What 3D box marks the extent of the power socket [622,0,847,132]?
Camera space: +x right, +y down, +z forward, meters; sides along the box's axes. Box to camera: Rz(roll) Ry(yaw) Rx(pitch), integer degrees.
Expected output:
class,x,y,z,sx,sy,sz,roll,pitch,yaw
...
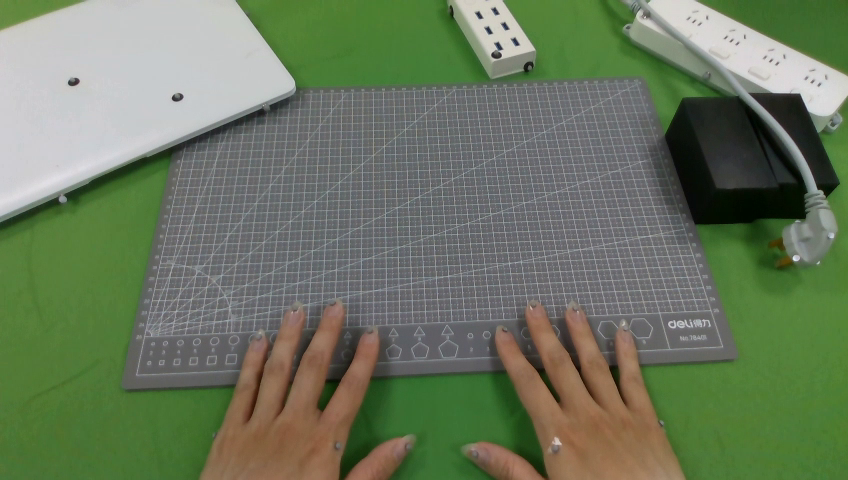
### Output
class,x,y,z,sx,sy,sz,roll,pitch,yaw
power socket,0.307,-0.183,0.599,0.225,0.033,0.072,39,65,22

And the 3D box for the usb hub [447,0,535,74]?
class,x,y,z,sx,sy,sz,roll,pitch,yaw
usb hub,0.066,-0.226,0.628,0.049,0.025,0.124,-17,60,-10

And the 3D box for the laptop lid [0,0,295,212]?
class,x,y,z,sx,sy,sz,roll,pitch,yaw
laptop lid,-0.328,-0.152,0.570,0.357,0.013,0.239,-27,64,-16

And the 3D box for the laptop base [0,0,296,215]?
class,x,y,z,sx,sy,sz,roll,pitch,yaw
laptop base,-0.329,-0.147,0.581,0.354,0.023,0.233,-29,65,-17

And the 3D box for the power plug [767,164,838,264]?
class,x,y,z,sx,sy,sz,roll,pitch,yaw
power plug,0.299,-0.015,0.482,0.035,0.052,0.072,21,61,-21
